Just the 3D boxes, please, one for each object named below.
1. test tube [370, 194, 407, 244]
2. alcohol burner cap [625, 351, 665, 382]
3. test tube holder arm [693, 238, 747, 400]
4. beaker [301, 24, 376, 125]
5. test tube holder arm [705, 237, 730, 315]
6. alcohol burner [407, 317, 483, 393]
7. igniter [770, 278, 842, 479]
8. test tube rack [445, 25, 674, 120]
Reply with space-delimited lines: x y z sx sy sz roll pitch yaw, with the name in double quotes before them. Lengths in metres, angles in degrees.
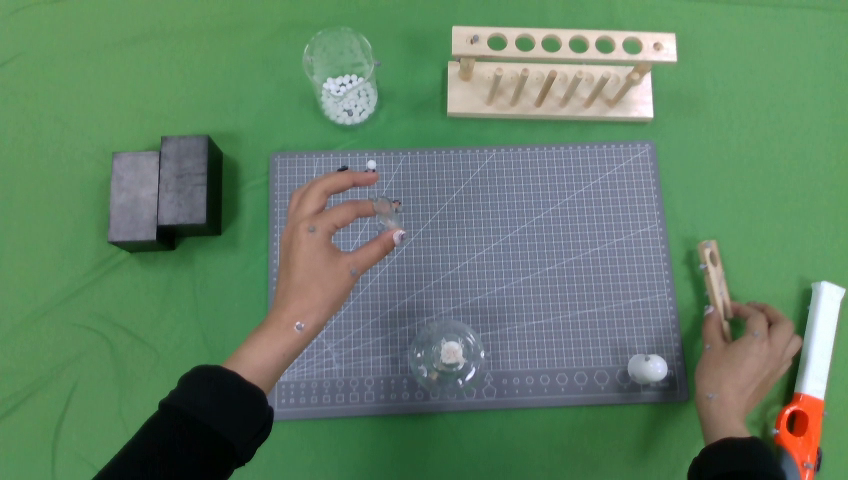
"test tube" -0.029 -0.015 0.534 0.017 0.151 0.017 -1 80 3
"alcohol burner cap" 0.235 0.133 0.640 0.034 0.048 0.033 0 76 0
"test tube holder arm" 0.323 0.085 0.662 0.013 0.015 0.177 -7 79 -8
"beaker" -0.091 -0.175 0.672 0.074 0.100 0.083 1 78 -1
"test tube holder arm" 0.322 0.040 0.671 0.010 0.015 0.087 -6 79 -8
"alcohol burner" 0.023 0.113 0.601 0.078 0.119 0.077 1 76 -3
"igniter" 0.405 0.174 0.646 0.057 0.025 0.275 20 78 -7
"test tube rack" 0.147 -0.188 0.689 0.242 0.085 0.066 1 78 -1
